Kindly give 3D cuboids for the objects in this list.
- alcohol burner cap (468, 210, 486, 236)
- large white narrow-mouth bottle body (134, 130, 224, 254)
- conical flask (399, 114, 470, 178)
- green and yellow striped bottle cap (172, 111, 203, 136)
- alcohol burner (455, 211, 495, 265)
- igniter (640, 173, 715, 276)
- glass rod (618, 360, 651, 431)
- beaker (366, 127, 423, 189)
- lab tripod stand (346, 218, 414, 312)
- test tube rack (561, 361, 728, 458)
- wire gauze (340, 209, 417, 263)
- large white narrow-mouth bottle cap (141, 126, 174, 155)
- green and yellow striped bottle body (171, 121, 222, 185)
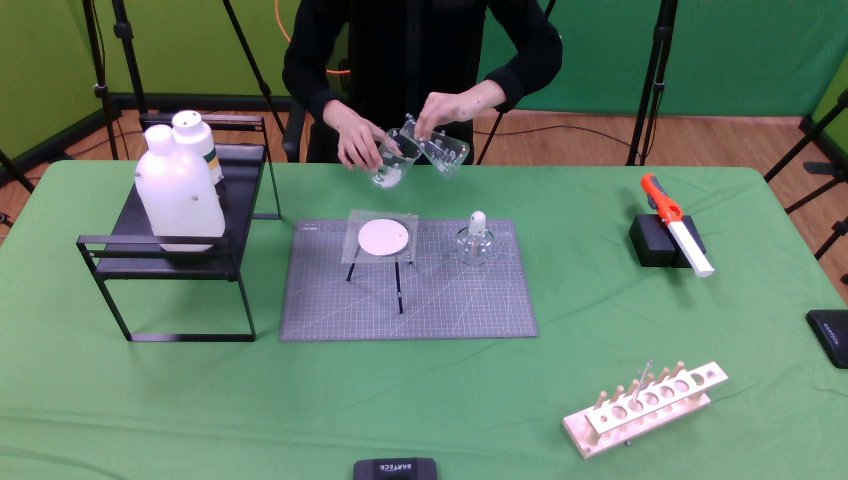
[{"bbox_3d":[0.100,-0.034,1.119,0.034,0.048,0.033,0,53,0],"label":"alcohol burner cap"},{"bbox_3d":[-0.358,-0.075,0.875,0.102,0.195,0.101,1,48,-1],"label":"large white narrow-mouth bottle body"},{"bbox_3d":[0.015,-0.173,1.080,0.122,0.075,0.075,35,48,-9],"label":"conical flask"},{"bbox_3d":[-0.374,-0.185,0.958,0.045,0.020,0.045,4,46,-4],"label":"green and yellow striped bottle cap"},{"bbox_3d":[0.097,-0.010,1.147,0.078,0.120,0.077,0,47,0],"label":"alcohol burner"},{"bbox_3d":[0.495,-0.039,1.204,0.057,0.025,0.274,-2,47,-13],"label":"igniter"},{"bbox_3d":[0.298,0.227,0.865,0.008,0.201,0.008,-1,48,2],"label":"glass rod"},{"bbox_3d":[-0.059,-0.150,1.137,0.084,0.100,0.073,6,56,-30],"label":"beaker"},{"bbox_3d":[-0.070,0.037,1.075,0.148,0.132,0.147,1,47,-1],"label":"lab tripod stand"},{"bbox_3d":[0.341,0.248,0.940,0.243,0.085,0.066,-15,48,-18],"label":"test tube rack"},{"bbox_3d":[-0.074,-0.007,1.023,0.121,0.011,0.124,3,46,0],"label":"wire gauze"},{"bbox_3d":[-0.356,-0.133,0.811,0.038,0.024,0.037,1,48,-1],"label":"large white narrow-mouth bottle cap"},{"bbox_3d":[-0.375,-0.149,0.995,0.063,0.120,0.063,2,46,-2],"label":"green and yellow striped bottle body"}]
